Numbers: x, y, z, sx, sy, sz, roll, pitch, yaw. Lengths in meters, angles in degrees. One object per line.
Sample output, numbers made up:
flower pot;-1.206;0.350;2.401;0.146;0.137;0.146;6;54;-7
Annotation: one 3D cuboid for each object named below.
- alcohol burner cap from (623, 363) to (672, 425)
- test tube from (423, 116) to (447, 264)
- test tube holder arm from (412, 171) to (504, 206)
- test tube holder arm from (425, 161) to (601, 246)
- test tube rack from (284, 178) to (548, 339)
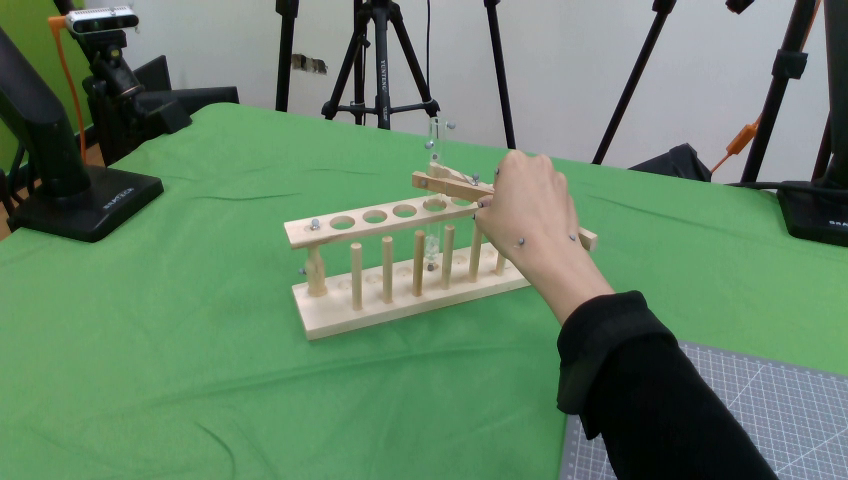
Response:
alcohol burner cap;0.175;0.115;0.468;0.034;0.048;0.033;1;37;-1
test tube;0.009;-0.042;0.559;0.017;0.151;0.017;2;33;-1
test tube holder arm;0.030;-0.045;0.531;0.087;0.015;0.010;14;43;23
test tube holder arm;0.069;-0.034;0.513;0.177;0.015;0.013;25;49;33
test tube rack;0.000;0.013;0.568;0.243;0.086;0.066;-12;38;-18
